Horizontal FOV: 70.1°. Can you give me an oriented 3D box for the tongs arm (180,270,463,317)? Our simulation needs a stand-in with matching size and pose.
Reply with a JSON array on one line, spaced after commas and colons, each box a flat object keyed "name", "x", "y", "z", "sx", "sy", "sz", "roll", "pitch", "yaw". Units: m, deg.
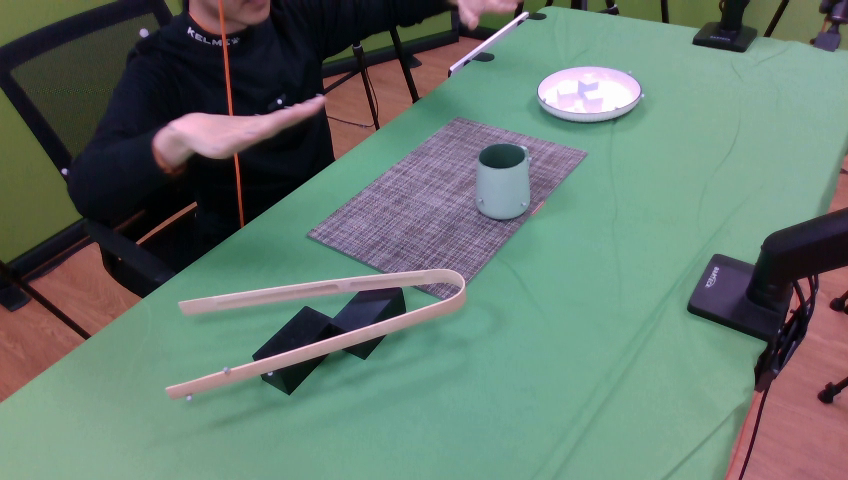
[{"name": "tongs arm", "x": -0.139, "y": 0.074, "z": 0.827, "sx": 0.388, "sy": 0.028, "sz": 0.028, "roll": -7, "pitch": 34, "yaw": 1}]

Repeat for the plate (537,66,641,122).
[{"name": "plate", "x": 0.338, "y": -0.299, "z": 1.255, "sx": 0.209, "sy": 0.038, "sz": 0.208, "roll": -4, "pitch": 41, "yaw": 4}]

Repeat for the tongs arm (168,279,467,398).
[{"name": "tongs arm", "x": -0.124, "y": 0.122, "z": 0.767, "sx": 0.386, "sy": 0.026, "sz": 0.050, "roll": -15, "pitch": 38, "yaw": -9}]

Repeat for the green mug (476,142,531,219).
[{"name": "green mug", "x": 0.140, "y": -0.106, "z": 1.003, "sx": 0.092, "sy": 0.105, "sz": 0.125, "roll": 21, "pitch": 48, "yaw": 30}]
